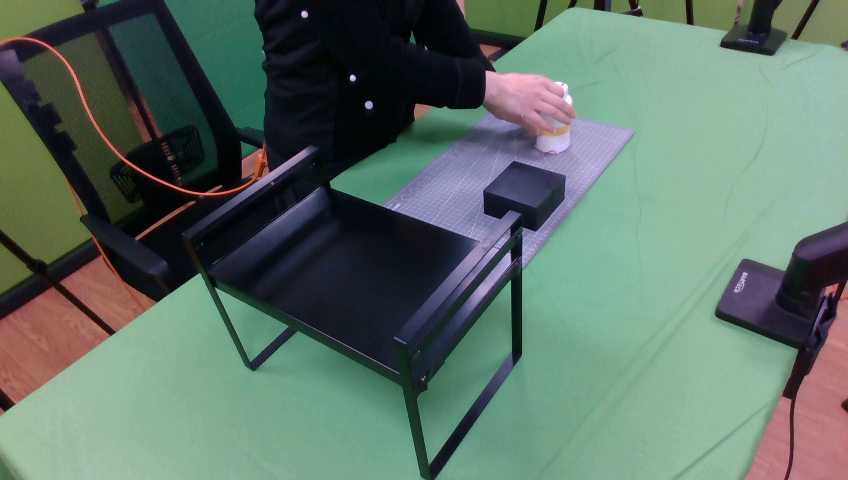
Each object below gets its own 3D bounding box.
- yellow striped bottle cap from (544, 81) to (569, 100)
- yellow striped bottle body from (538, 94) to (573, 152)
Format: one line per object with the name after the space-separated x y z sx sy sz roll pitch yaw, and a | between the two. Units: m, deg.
0.240 -0.270 1.093 0.044 0.019 0.044 -4 41 4 | yellow striped bottle cap
0.244 -0.230 1.127 0.063 0.121 0.062 -5 41 4 | yellow striped bottle body
